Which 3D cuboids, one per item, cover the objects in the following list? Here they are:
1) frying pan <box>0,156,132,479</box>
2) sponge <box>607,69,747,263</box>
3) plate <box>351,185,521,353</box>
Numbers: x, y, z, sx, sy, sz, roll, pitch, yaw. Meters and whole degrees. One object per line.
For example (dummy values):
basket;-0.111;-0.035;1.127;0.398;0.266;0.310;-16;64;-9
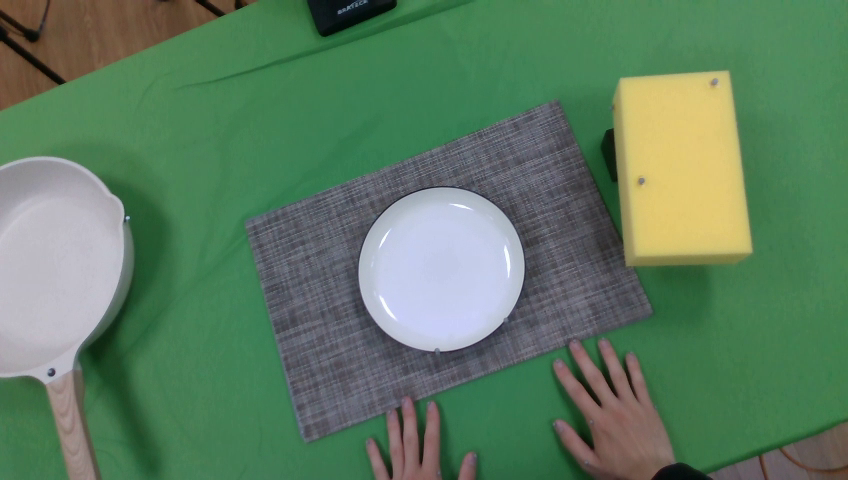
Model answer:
frying pan;-0.478;0.119;0.773;0.307;0.103;0.483;-29;67;2
sponge;0.277;-0.080;0.678;0.118;0.061;0.206;-3;77;7
plate;0.015;0.036;0.750;0.207;0.039;0.206;-2;77;8
